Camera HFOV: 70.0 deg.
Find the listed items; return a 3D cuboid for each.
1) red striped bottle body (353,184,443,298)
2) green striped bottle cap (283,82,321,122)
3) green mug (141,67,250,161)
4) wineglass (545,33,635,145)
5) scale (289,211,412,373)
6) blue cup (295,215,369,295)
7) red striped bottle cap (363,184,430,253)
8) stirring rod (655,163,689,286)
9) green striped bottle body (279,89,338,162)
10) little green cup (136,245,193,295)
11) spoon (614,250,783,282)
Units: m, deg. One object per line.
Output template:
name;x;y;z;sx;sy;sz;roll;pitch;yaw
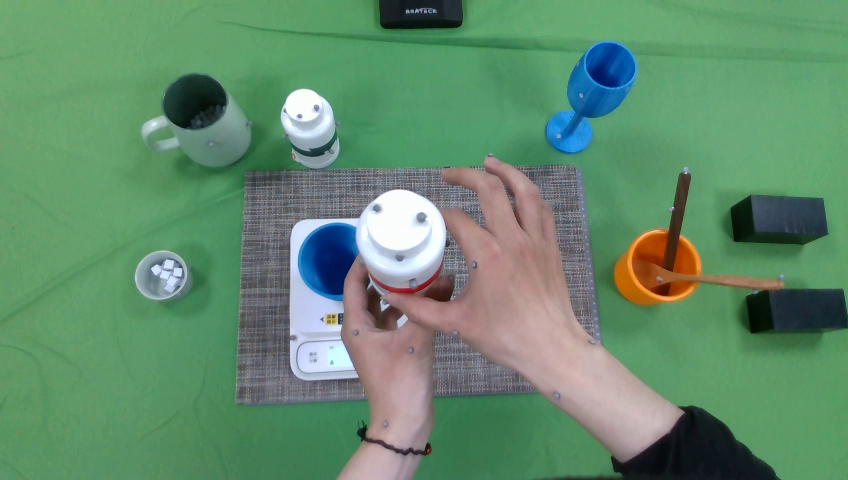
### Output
red striped bottle body;-0.018;0.001;0.449;0.063;0.120;0.062;0;72;1
green striped bottle cap;-0.144;-0.163;0.716;0.044;0.020;0.044;1;75;-3
green mug;-0.291;-0.151;0.767;0.125;0.105;0.092;-23;78;-8
wineglass;0.205;-0.185;0.768;0.074;0.173;0.073;1;75;-2
scale;-0.093;0.061;0.758;0.149;0.031;0.200;-3;76;-4
blue cup;-0.097;0.025;0.700;0.093;0.100;0.092;1;77;-3
red striped bottle cap;-0.018;-0.015;0.398;0.044;0.018;0.044;0;71;0
stirring rod;0.303;-0.014;0.744;0.014;0.177;0.006;3;34;11
green striped bottle body;-0.146;-0.149;0.767;0.063;0.120;0.063;1;75;-3
little green cup;-0.318;0.040;0.750;0.061;0.039;0.061;1;76;-4
spoon;0.324;0.036;0.732;0.022;0.192;0.041;19;79;-43
